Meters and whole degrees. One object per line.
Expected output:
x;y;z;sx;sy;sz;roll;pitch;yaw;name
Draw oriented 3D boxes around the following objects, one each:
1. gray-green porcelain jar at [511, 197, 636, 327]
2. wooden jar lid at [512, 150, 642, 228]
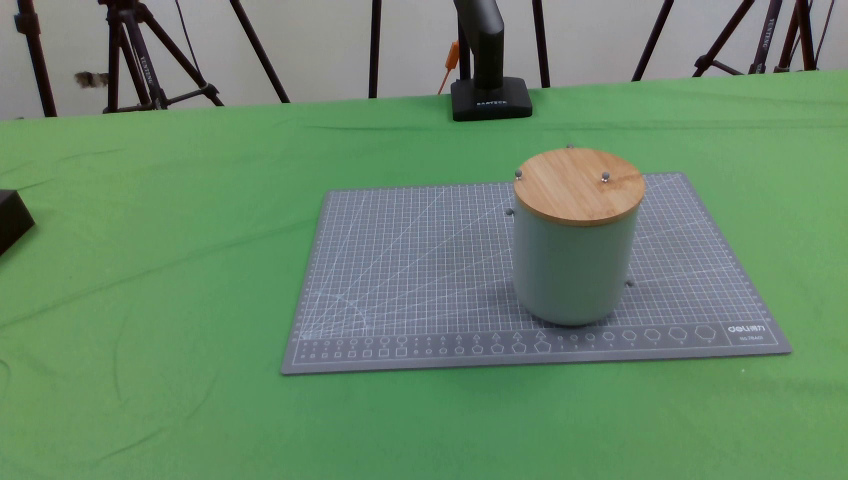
0.133;0.008;0.556;0.106;0.127;0.105;-3;38;3;gray-green porcelain jar
0.129;-0.041;0.518;0.108;0.021;0.107;-4;39;3;wooden jar lid
